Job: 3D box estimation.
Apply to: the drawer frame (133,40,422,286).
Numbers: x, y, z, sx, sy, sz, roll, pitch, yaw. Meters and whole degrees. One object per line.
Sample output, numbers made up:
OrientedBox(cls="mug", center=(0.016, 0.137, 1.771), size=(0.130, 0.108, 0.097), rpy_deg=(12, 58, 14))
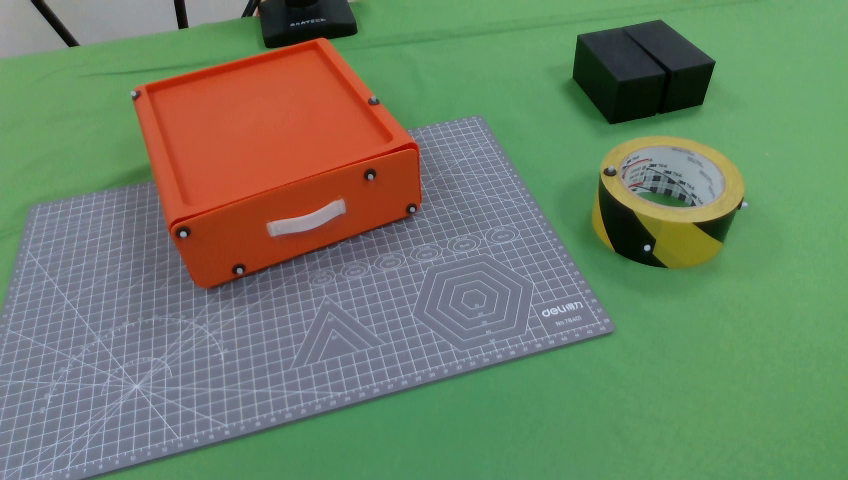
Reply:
OrientedBox(cls="drawer frame", center=(-0.137, -0.082, 0.550), size=(0.202, 0.083, 0.211), rpy_deg=(-22, 47, -17))

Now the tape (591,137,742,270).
OrientedBox(cls="tape", center=(0.199, -0.034, 0.507), size=(0.117, 0.053, 0.115), rpy_deg=(-1, 45, 2))

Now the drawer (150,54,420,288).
OrientedBox(cls="drawer", center=(-0.135, -0.077, 0.547), size=(0.195, 0.074, 0.209), rpy_deg=(-21, 47, -16))
